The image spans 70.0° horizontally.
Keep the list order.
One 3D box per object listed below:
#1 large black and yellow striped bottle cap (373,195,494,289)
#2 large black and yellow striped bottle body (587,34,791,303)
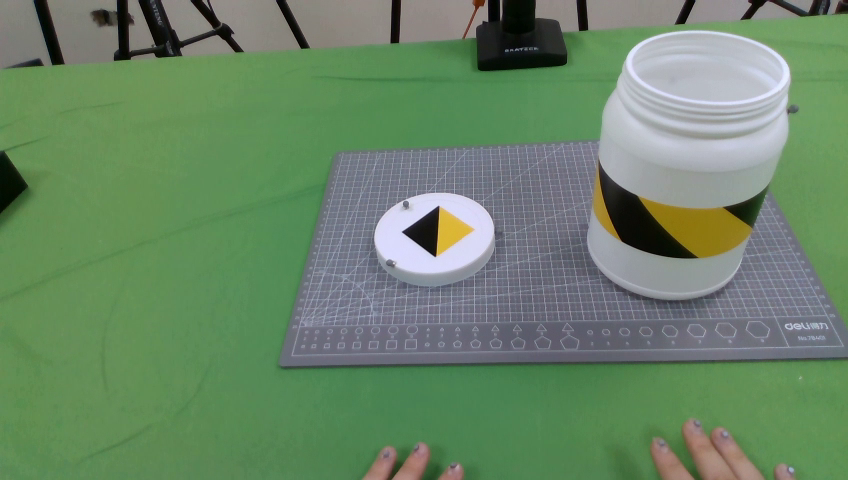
[{"bbox_3d":[0.009,-0.001,0.576,0.115,0.019,0.114,-2,44,3],"label":"large black and yellow striped bottle cap"},{"bbox_3d":[0.204,-0.054,0.484,0.131,0.186,0.129,-4,43,4],"label":"large black and yellow striped bottle body"}]
